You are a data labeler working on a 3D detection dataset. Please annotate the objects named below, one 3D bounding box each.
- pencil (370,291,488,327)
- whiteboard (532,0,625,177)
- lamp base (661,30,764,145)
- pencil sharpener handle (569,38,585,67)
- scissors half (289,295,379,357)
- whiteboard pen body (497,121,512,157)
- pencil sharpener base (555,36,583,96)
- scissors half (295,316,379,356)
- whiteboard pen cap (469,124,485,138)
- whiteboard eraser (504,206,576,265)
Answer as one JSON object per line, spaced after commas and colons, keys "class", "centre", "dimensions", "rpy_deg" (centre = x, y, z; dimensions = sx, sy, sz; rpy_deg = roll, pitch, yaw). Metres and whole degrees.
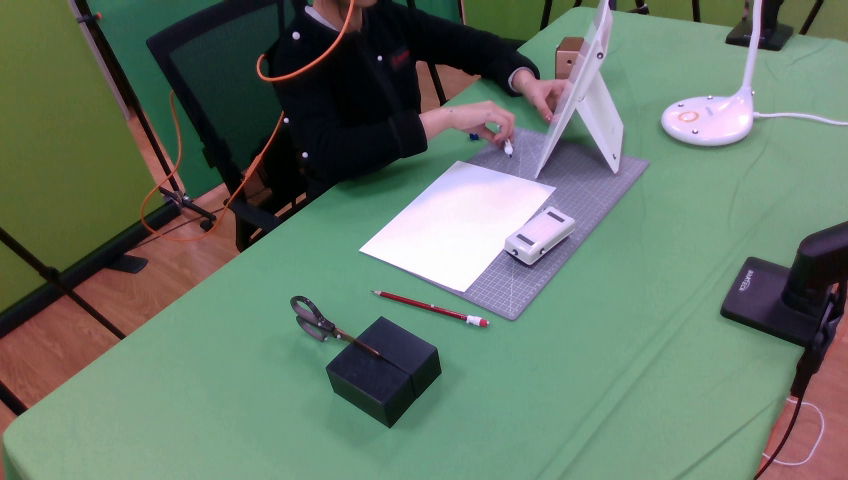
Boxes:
{"class": "pencil", "centre": [0.003, 0.097, 0.877], "dimensions": [0.193, 0.012, 0.012], "rpy_deg": [13, 45, 26]}
{"class": "whiteboard", "centre": [0.320, -0.258, 1.050], "dimensions": [0.144, 0.306, 0.217], "rpy_deg": [21, 45, 4]}
{"class": "lamp base", "centre": [0.535, -0.287, 1.096], "dimensions": [0.179, 0.181, 0.159], "rpy_deg": [-10, 40, -4]}
{"class": "pencil sharpener handle", "centre": [0.332, -0.413, 1.317], "dimensions": [0.036, 0.068, 0.030], "rpy_deg": [19, 46, 13]}
{"class": "scissors half", "centre": [-0.122, 0.114, 0.803], "dimensions": [0.174, 0.040, 0.013], "rpy_deg": [26, 50, 32]}
{"class": "whiteboard pen body", "centre": [0.157, -0.196, 1.175], "dimensions": [0.017, 0.017, 0.140], "rpy_deg": [-6, 36, 3]}
{"class": "pencil sharpener base", "centre": [0.317, -0.371, 1.290], "dimensions": [0.061, 0.107, 0.076], "rpy_deg": [10, 44, 22]}
{"class": "scissors half", "centre": [-0.119, 0.131, 0.813], "dimensions": [0.173, 0.040, 0.013], "rpy_deg": [9, 34, 45]}
{"class": "whiteboard pen cap", "centre": [0.106, -0.220, 1.224], "dimensions": [0.033, 0.018, 0.018], "rpy_deg": [-37, 48, -24]}
{"class": "whiteboard eraser", "centre": [0.180, -0.006, 0.935], "dimensions": [0.113, 0.042, 0.055], "rpy_deg": [-35, 49, -28]}
